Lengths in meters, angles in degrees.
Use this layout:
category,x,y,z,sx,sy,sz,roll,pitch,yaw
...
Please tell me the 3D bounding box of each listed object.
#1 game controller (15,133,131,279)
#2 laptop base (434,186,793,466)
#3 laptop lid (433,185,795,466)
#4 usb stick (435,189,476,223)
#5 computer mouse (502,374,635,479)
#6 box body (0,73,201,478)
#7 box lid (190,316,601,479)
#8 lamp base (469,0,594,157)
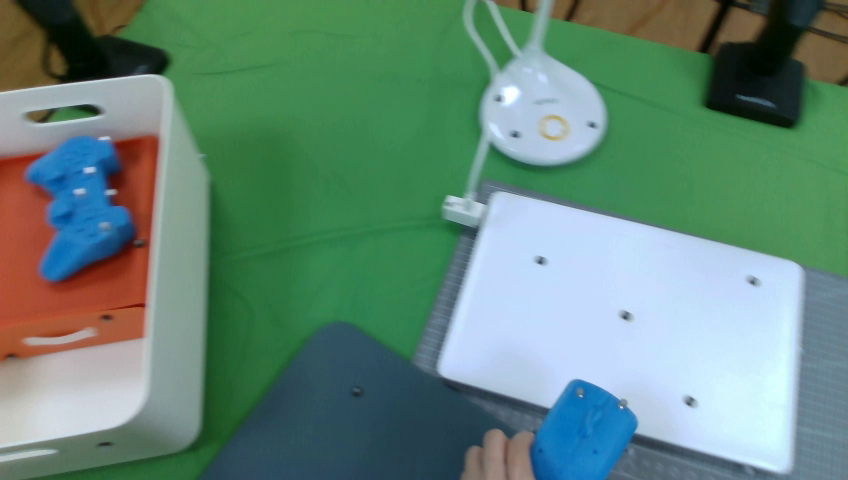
category,x,y,z,sx,sy,sz,roll,pitch,yaw
game controller,-0.366,-0.044,0.622,0.097,0.052,0.153,-21,64,-14
laptop base,0.208,0.079,0.654,0.353,0.023,0.234,14,67,7
laptop lid,0.207,0.075,0.643,0.356,0.013,0.240,15,66,8
usb stick,0.043,-0.038,0.701,0.059,0.027,0.021,19,59,7
computer mouse,0.116,0.165,0.487,0.062,0.041,0.117,32,73,25
box body,-0.367,0.035,0.599,0.254,0.161,0.360,-9,63,-5
box lid,-0.027,0.256,0.569,0.369,0.015,0.262,30,67,14
lamp base,0.133,-0.220,0.720,0.161,0.182,0.177,-19,61,-10
